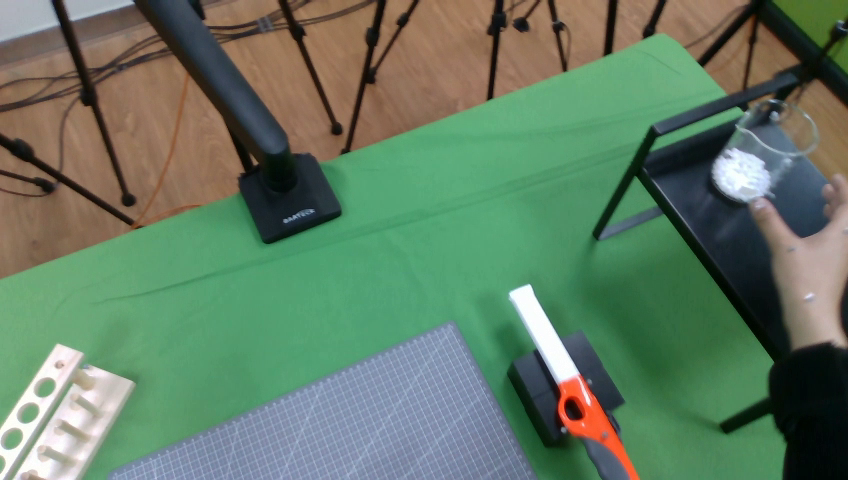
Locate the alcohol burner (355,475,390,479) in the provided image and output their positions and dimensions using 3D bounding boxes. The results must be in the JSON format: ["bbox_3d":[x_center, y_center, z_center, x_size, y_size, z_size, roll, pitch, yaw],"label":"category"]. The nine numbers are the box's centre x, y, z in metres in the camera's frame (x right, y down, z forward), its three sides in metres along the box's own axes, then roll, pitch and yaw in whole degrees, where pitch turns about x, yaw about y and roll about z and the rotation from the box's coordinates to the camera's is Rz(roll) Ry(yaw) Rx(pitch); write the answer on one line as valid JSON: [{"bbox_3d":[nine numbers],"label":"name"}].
[{"bbox_3d":[-0.056,0.286,0.640,0.078,0.120,0.077,2,59,-3],"label":"alcohol burner"}]

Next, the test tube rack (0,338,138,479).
[{"bbox_3d":[-0.423,0.240,0.663,0.066,0.086,0.241,18,62,8],"label":"test tube rack"}]

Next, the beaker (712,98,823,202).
[{"bbox_3d":[0.373,-0.096,0.674,0.084,0.101,0.073,5,61,0],"label":"beaker"}]

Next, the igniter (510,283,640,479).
[{"bbox_3d":[0.175,0.172,0.713,0.057,0.025,0.274,-19,62,-12],"label":"igniter"}]
